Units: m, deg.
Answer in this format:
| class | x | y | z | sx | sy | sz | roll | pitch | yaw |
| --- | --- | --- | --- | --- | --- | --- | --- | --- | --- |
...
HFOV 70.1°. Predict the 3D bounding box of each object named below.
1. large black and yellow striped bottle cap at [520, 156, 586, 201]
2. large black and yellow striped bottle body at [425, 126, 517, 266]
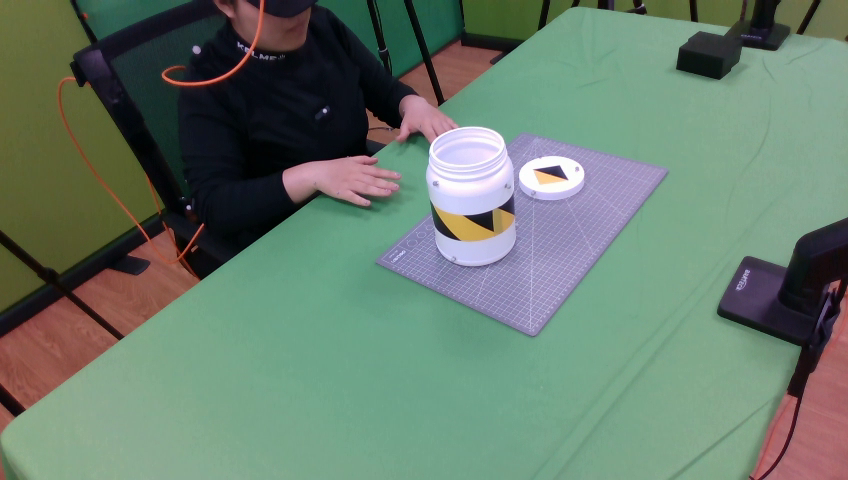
| class | x | y | z | sx | sy | sz | roll | pitch | yaw |
| --- | --- | --- | --- | --- | --- | --- | --- | --- | --- |
| large black and yellow striped bottle cap | 0.228 | -0.111 | 1.072 | 0.115 | 0.019 | 0.114 | -6 | 40 | 6 |
| large black and yellow striped bottle body | 0.072 | -0.066 | 0.917 | 0.131 | 0.185 | 0.130 | -5 | 40 | 5 |
